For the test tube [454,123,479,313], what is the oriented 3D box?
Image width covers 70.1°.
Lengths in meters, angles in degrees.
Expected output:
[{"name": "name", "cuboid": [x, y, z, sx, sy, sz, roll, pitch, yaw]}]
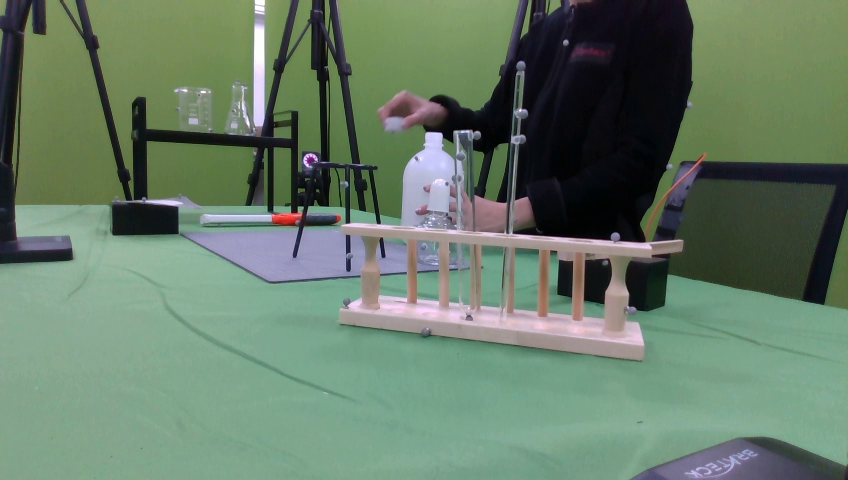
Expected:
[{"name": "test tube", "cuboid": [0.034, -0.016, 0.477, 0.017, 0.150, 0.017, -2, 9, 1]}]

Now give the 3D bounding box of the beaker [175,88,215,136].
[{"name": "beaker", "cuboid": [-0.511, -0.285, 1.353, 0.084, 0.100, 0.073, -2, 8, -25]}]

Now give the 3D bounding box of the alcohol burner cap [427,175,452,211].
[{"name": "alcohol burner cap", "cuboid": [0.023, -0.064, 0.822, 0.034, 0.048, 0.034, 8, 5, 0]}]

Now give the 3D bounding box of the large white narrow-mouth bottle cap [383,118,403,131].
[{"name": "large white narrow-mouth bottle cap", "cuboid": [-0.057, -0.211, 1.107, 0.038, 0.024, 0.037, 2, 8, 0]}]

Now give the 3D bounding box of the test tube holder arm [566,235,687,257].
[{"name": "test tube holder arm", "cuboid": [0.215, 0.006, 0.630, 0.179, 0.015, 0.013, -3, 9, -31]}]

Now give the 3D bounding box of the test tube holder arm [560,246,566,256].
[{"name": "test tube holder arm", "cuboid": [0.173, 0.007, 0.612, 0.088, 0.015, 0.010, -3, 9, -30]}]

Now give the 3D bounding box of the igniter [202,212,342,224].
[{"name": "igniter", "cuboid": [-0.298, -0.044, 1.216, 0.278, 0.025, 0.057, -2, -2, -33]}]

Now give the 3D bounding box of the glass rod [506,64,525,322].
[{"name": "glass rod", "cuboid": [0.069, -0.030, 0.458, 0.008, 0.199, 0.008, 0, 15, 0]}]

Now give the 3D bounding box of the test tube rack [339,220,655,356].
[{"name": "test tube rack", "cuboid": [0.056, 0.032, 0.495, 0.242, 0.085, 0.067, 4, 7, 15]}]

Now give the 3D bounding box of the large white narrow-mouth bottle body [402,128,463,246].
[{"name": "large white narrow-mouth bottle body", "cuboid": [0.015, -0.092, 1.031, 0.102, 0.194, 0.102, 2, 8, 0]}]

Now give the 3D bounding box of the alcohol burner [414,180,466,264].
[{"name": "alcohol burner", "cuboid": [0.021, -0.028, 0.826, 0.078, 0.119, 0.078, 0, 6, 0]}]

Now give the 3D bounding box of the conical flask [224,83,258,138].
[{"name": "conical flask", "cuboid": [-0.422, -0.299, 1.395, 0.075, 0.122, 0.075, 2, 7, 0]}]

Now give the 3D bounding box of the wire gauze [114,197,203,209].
[{"name": "wire gauze", "cuboid": [-0.447, -0.062, 1.015, 0.126, 0.011, 0.121, -2, 8, -31]}]

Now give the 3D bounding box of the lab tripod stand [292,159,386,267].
[{"name": "lab tripod stand", "cuboid": [-0.105, -0.039, 0.798, 0.148, 0.131, 0.148, 2, 5, 0]}]
